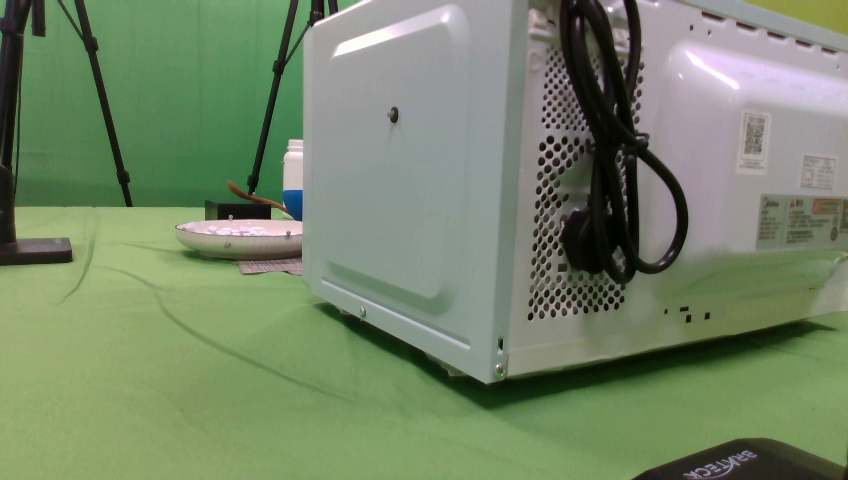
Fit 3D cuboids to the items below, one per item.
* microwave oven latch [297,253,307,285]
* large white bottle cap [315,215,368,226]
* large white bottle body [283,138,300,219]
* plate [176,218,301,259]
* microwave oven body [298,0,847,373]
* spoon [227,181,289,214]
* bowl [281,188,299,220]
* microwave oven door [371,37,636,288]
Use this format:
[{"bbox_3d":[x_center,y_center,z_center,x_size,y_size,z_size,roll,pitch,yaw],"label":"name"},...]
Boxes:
[{"bbox_3d":[-0.082,0.027,0.582,0.079,0.029,0.030,-1,7,-33],"label":"microwave oven latch"},{"bbox_3d":[-0.178,-0.041,1.309,0.115,0.018,0.115,2,6,0],"label":"large white bottle cap"},{"bbox_3d":[-0.265,-0.143,1.423,0.131,0.184,0.130,2,7,0],"label":"large white bottle body"},{"bbox_3d":[-0.248,-0.003,0.877,0.209,0.038,0.209,1,8,0],"label":"plate"},{"bbox_3d":[0.151,-0.055,0.542,0.444,0.260,0.324,-1,7,-33],"label":"microwave oven body"},{"bbox_3d":[-0.315,-0.074,1.235,0.195,0.021,0.041,24,-10,-37],"label":"spoon"},{"bbox_3d":[-0.190,-0.053,1.129,0.151,0.077,0.151,3,8,0],"label":"bowl"},{"bbox_3d":[0.109,-0.080,0.686,0.358,0.243,0.039,-2,9,-33],"label":"microwave oven door"}]
